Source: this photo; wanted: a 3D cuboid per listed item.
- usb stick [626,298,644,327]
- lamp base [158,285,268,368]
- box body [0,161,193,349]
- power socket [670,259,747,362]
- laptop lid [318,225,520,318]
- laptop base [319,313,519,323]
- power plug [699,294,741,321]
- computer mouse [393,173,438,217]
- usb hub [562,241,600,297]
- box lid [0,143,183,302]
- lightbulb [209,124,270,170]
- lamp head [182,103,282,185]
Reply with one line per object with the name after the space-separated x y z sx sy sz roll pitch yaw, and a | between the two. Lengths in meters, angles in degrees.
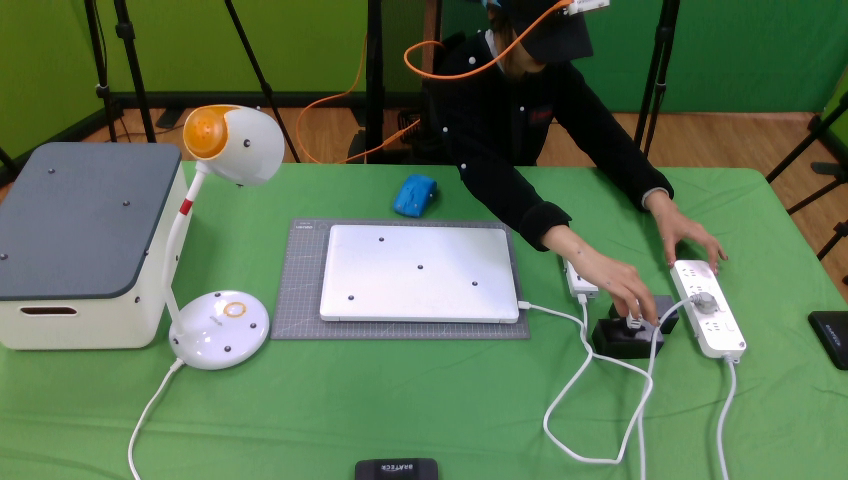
0.359 0.118 1.033 0.021 0.027 0.059 3 43 6 | usb stick
-0.348 0.102 0.963 0.160 0.181 0.178 24 51 18 | lamp base
-0.570 0.006 1.054 0.254 0.161 0.361 -1 46 -4 | box body
0.516 0.119 1.107 0.072 0.033 0.225 0 46 -2 | power socket
-0.009 0.053 1.131 0.357 0.013 0.240 2 44 -2 | laptop lid
-0.009 0.063 1.138 0.354 0.023 0.234 1 43 -3 | laptop base
0.515 0.127 1.070 0.035 0.053 0.072 -18 56 -7 | power plug
-0.017 -0.098 1.282 0.062 0.041 0.117 21 52 13 | computer mouse
0.300 0.055 1.162 0.049 0.025 0.124 3 46 -3 | usb hub
-0.567 -0.045 0.999 0.263 0.015 0.369 -1 46 -4 | box lid
-0.260 -0.135 0.847 0.059 0.108 0.059 -4 79 20 | lightbulb
-0.271 -0.133 0.825 0.112 0.112 0.123 20 8 15 | lamp head
